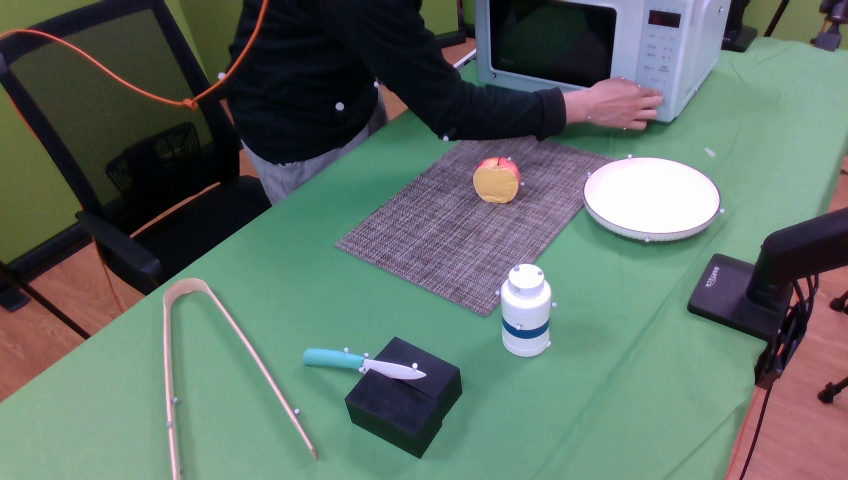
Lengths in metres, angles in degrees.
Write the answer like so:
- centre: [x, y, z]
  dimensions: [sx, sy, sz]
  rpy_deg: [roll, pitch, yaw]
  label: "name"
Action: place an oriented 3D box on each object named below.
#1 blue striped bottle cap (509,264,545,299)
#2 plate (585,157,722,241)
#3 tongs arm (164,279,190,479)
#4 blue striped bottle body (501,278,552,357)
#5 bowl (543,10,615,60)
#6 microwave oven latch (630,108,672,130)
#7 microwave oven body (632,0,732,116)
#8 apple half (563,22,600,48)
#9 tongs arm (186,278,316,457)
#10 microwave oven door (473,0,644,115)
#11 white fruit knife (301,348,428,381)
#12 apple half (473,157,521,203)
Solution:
- centre: [0.125, 0.050, 0.736]
  dimensions: [0.044, 0.021, 0.044]
  rpy_deg: [-6, 39, 5]
  label: "blue striped bottle cap"
- centre: [0.367, -0.064, 0.979]
  dimensions: [0.207, 0.039, 0.206]
  rpy_deg: [-4, 41, 4]
  label: "plate"
- centre: [-0.314, 0.182, 0.790]
  dimensions: [0.051, 0.026, 0.381]
  rpy_deg: [-20, 41, -14]
  label: "tongs arm"
- centre: [0.130, 0.088, 0.769]
  dimensions: [0.063, 0.121, 0.063]
  rpy_deg: [-4, 40, 4]
  label: "blue striped bottle body"
- centre: [0.335, -0.439, 1.306]
  dimensions: [0.151, 0.077, 0.151]
  rpy_deg: [-8, 30, 5]
  label: "bowl"
- centre: [0.428, -0.233, 1.141]
  dimensions: [0.079, 0.029, 0.030]
  rpy_deg: [-17, 40, -11]
  label: "microwave oven latch"
- centre: [0.377, -0.463, 1.267]
  dimensions: [0.438, 0.261, 0.327]
  rpy_deg: [21, 49, 30]
  label: "microwave oven body"
- centre: [0.333, -0.446, 1.299]
  dimensions: [0.081, 0.033, 0.081]
  rpy_deg: [-15, 38, 13]
  label: "apple half"
- centre: [-0.242, 0.154, 0.816]
  dimensions: [0.028, 0.028, 0.384]
  rpy_deg: [-32, 45, -21]
  label: "tongs arm"
- centre: [0.257, -0.396, 1.200]
  dimensions: [0.353, 0.245, 0.039]
  rpy_deg: [21, 48, 29]
  label: "microwave oven door"
- centre: [-0.079, 0.154, 0.748]
  dimensions: [0.206, 0.027, 0.016]
  rpy_deg: [1, 20, 34]
  label: "white fruit knife"
- centre: [0.128, -0.107, 1.030]
  dimensions: [0.080, 0.075, 0.053]
  rpy_deg: [4, 37, 19]
  label: "apple half"
